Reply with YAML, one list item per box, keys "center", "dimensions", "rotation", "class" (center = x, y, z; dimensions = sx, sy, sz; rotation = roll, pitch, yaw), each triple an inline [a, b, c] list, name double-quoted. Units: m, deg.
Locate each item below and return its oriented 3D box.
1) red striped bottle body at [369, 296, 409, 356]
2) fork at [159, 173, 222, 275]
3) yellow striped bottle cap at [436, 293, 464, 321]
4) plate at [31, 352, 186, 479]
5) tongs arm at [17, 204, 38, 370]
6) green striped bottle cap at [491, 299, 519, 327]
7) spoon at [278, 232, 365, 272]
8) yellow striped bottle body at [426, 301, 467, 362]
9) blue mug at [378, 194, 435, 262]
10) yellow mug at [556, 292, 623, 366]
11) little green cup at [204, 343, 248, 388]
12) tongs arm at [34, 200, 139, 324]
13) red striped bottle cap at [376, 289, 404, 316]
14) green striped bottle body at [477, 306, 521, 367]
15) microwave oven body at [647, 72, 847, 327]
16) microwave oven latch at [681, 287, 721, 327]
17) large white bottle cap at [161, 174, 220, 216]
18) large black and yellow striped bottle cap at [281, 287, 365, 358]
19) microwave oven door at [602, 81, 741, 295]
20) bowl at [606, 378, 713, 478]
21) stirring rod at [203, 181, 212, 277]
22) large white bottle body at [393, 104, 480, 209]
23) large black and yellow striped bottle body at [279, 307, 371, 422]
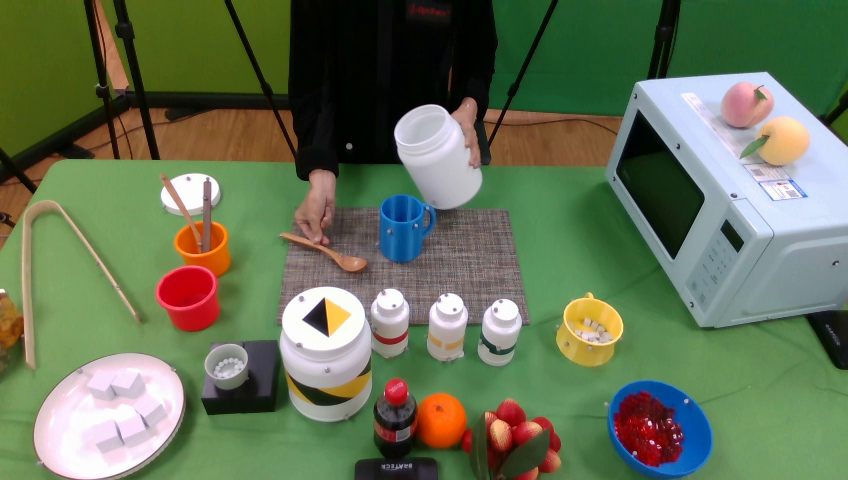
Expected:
- center: [-0.058, 0.134, 0.997]
  dimensions: [0.063, 0.120, 0.062]
  rotation: [4, 47, -4]
  class: "red striped bottle body"
- center: [-0.427, -0.029, 1.103]
  dimensions: [0.028, 0.018, 0.207]
  rotation: [-31, 99, -30]
  class: "fork"
- center: [0.041, 0.106, 0.959]
  dimensions: [0.044, 0.019, 0.044]
  rotation: [0, 50, 1]
  class: "yellow striped bottle cap"
- center: [-0.459, 0.262, 0.898]
  dimensions: [0.209, 0.038, 0.208]
  rotation: [2, 46, -2]
  class: "plate"
- center: [-0.698, 0.069, 1.069]
  dimensions: [0.028, 0.028, 0.385]
  rotation: [-20, 50, -13]
  class: "tongs arm"
- center: [0.128, 0.115, 0.958]
  dimensions: [0.044, 0.020, 0.044]
  rotation: [1, 47, -1]
  class: "green striped bottle cap"
- center: [-0.198, 0.019, 1.157]
  dimensions: [0.193, 0.022, 0.041]
  rotation: [24, 43, 16]
  class: "spoon"
- center: [0.037, 0.142, 0.996]
  dimensions: [0.063, 0.121, 0.062]
  rotation: [2, 46, -2]
  class: "yellow striped bottle body"
- center: [-0.032, -0.027, 1.160]
  dimensions: [0.116, 0.106, 0.082]
  rotation: [-19, 51, -21]
  class: "blue mug"
- center: [0.285, 0.145, 1.051]
  dimensions: [0.100, 0.064, 0.130]
  rotation: [7, 45, 3]
  class: "yellow mug"
- center: [-0.294, 0.190, 0.909]
  dimensions: [0.061, 0.039, 0.061]
  rotation: [1, 48, -1]
  class: "little green cup"
- center: [-0.622, 0.034, 1.105]
  dimensions: [0.051, 0.026, 0.382]
  rotation: [-32, 56, -26]
  class: "tongs arm"
- center: [-0.055, 0.098, 0.958]
  dimensions: [0.044, 0.018, 0.044]
  rotation: [0, 48, 0]
  class: "red striped bottle cap"
- center: [0.124, 0.151, 0.995]
  dimensions: [0.063, 0.120, 0.063]
  rotation: [2, 46, -2]
  class: "green striped bottle body"
- center: [0.607, -0.089, 1.164]
  dimensions: [0.326, 0.261, 0.438]
  rotation: [-7, 46, -10]
  class: "microwave oven body"
- center: [0.494, 0.119, 1.087]
  dimensions: [0.030, 0.029, 0.078]
  rotation: [-6, 46, -9]
  class: "microwave oven latch"
- center: [-0.483, -0.095, 1.253]
  dimensions: [0.115, 0.018, 0.114]
  rotation: [2, 46, -2]
  class: "large white bottle cap"
- center: [-0.141, 0.112, 0.847]
  dimensions: [0.115, 0.019, 0.114]
  rotation: [5, 45, -4]
  class: "large black and yellow striped bottle cap"
- center: [0.456, -0.107, 1.162]
  dimensions: [0.039, 0.245, 0.353]
  rotation: [-7, 47, -11]
  class: "microwave oven door"
- center: [0.340, 0.292, 0.906]
  dimensions: [0.151, 0.077, 0.150]
  rotation: [2, 46, -2]
  class: "bowl"
- center: [-0.396, -0.021, 1.107]
  dimensions: [0.014, 0.006, 0.176]
  rotation: [-1, 89, -1]
  class: "stirring rod"
- center: [0.023, -0.163, 1.191]
  dimensions: [0.130, 0.186, 0.130]
  rotation: [-13, 50, 17]
  class: "large white bottle body"
- center: [-0.145, 0.173, 0.907]
  dimensions: [0.131, 0.185, 0.130]
  rotation: [2, 46, -2]
  class: "large black and yellow striped bottle body"
